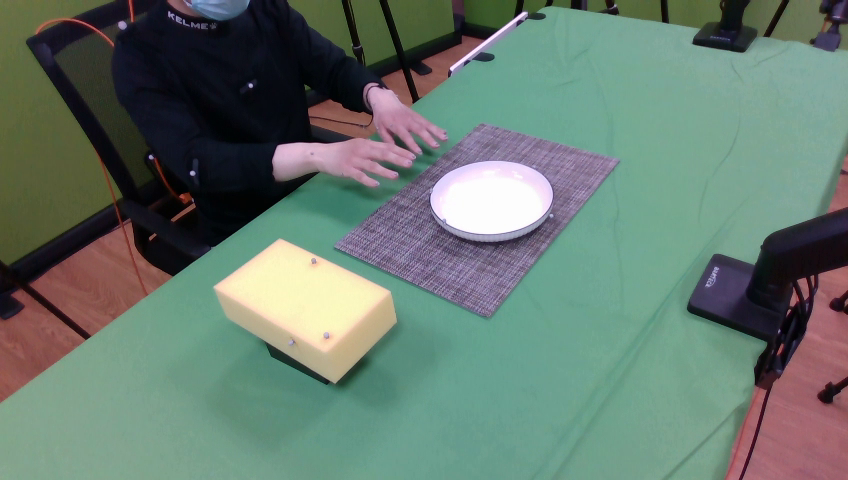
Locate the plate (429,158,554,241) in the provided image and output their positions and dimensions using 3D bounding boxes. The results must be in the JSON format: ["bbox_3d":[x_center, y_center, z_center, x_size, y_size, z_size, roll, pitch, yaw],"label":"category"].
[{"bbox_3d":[0.112,-0.065,1.011,0.207,0.039,0.206,-4,41,4],"label":"plate"}]

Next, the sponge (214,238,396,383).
[{"bbox_3d":[-0.154,0.084,0.787,0.205,0.061,0.118,22,49,29],"label":"sponge"}]
